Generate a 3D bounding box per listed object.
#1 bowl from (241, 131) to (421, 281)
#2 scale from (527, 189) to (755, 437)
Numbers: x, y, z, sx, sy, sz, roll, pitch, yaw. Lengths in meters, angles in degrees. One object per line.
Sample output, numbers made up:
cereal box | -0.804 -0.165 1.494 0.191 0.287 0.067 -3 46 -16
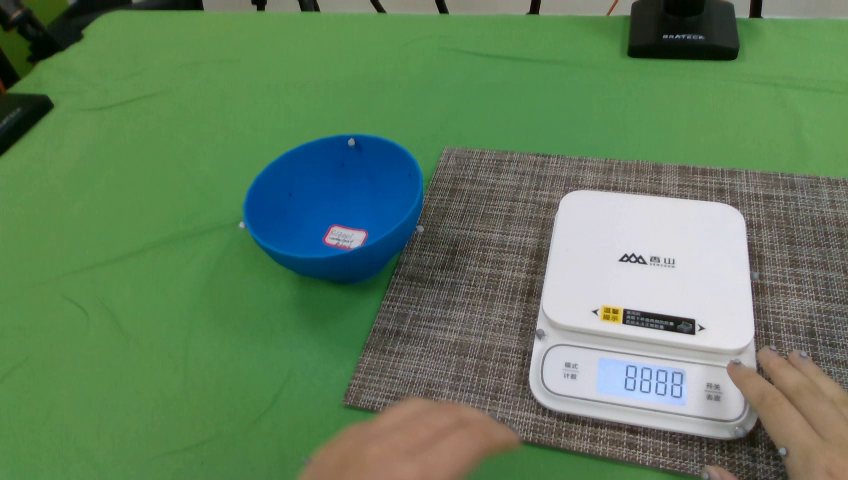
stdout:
bowl | -0.072 -0.018 0.525 0.151 0.077 0.150 -5 47 5
scale | 0.164 0.042 0.458 0.148 0.032 0.199 6 49 15
